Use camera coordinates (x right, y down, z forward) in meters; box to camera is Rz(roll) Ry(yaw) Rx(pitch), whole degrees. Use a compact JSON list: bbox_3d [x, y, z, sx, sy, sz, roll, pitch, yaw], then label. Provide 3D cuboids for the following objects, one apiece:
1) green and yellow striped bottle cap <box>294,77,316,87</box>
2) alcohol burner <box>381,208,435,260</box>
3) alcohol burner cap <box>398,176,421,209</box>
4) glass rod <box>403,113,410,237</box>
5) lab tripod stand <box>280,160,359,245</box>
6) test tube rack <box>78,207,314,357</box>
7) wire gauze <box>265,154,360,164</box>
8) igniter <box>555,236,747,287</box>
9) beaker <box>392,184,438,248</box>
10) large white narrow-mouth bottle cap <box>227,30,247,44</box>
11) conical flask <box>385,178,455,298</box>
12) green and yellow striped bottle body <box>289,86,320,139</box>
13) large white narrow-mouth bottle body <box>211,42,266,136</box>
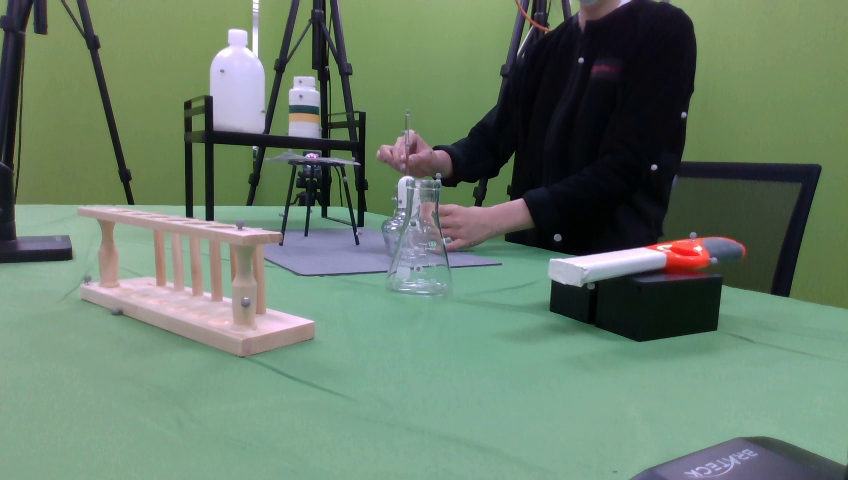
[{"bbox_3d":[-0.247,-0.326,1.251,0.045,0.020,0.045,0,10,0],"label":"green and yellow striped bottle cap"},{"bbox_3d":[-0.023,-0.032,0.871,0.078,0.119,0.078,0,6,0],"label":"alcohol burner"},{"bbox_3d":[-0.023,-0.068,0.866,0.034,0.048,0.034,-5,8,1],"label":"alcohol burner cap"},{"bbox_3d":[-0.029,-0.104,0.972,0.008,0.199,0.008,2,8,0],"label":"glass rod"},{"bbox_3d":[-0.176,-0.062,0.973,0.148,0.131,0.148,1,7,0],"label":"lab tripod stand"},{"bbox_3d":[-0.196,0.023,0.500,0.241,0.085,0.067,8,8,37],"label":"test tube rack"},{"bbox_3d":[-0.181,-0.129,0.969,0.126,0.011,0.121,-1,7,-27],"label":"wire gauze"},{"bbox_3d":[0.221,0.017,0.558,0.278,0.025,0.057,-5,15,-39],"label":"igniter"},{"bbox_3d":[-0.013,-0.040,0.993,0.074,0.100,0.083,-5,11,-42],"label":"beaker"},{"bbox_3d":[-0.361,-0.389,1.166,0.038,0.024,0.037,1,7,0],"label":"large white narrow-mouth bottle cap"},{"bbox_3d":[-0.002,-0.004,0.639,0.075,0.122,0.075,2,7,0],"label":"conical flask"},{"bbox_3d":[-0.249,-0.272,1.259,0.063,0.119,0.063,2,8,0],"label":"green and yellow striped bottle body"},{"bbox_3d":[-0.361,-0.302,1.176,0.102,0.194,0.102,1,7,0],"label":"large white narrow-mouth bottle body"}]
